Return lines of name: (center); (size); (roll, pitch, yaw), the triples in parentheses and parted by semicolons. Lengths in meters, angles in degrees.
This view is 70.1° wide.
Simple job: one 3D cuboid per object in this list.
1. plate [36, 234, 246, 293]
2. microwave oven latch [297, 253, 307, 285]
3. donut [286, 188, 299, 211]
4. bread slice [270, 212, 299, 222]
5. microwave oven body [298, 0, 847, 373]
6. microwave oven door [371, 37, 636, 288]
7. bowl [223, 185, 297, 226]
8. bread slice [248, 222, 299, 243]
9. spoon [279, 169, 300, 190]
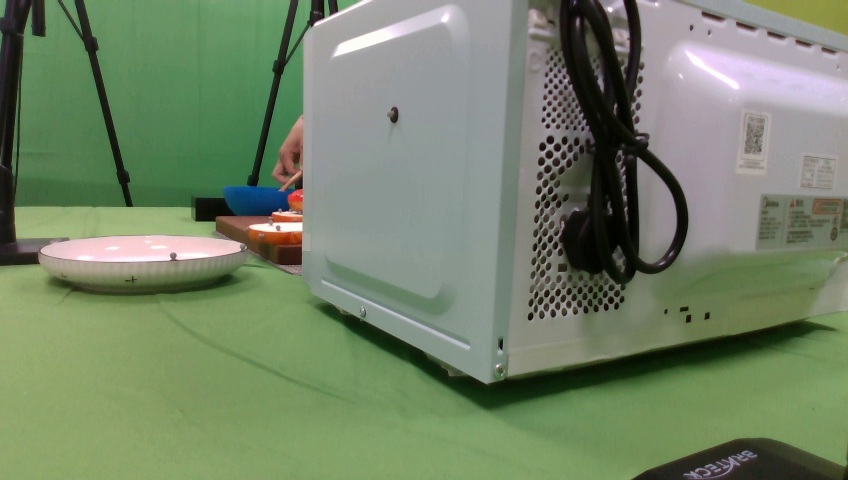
plate: (-0.305, 0.026, 0.668); (0.208, 0.039, 0.207); (3, 7, 0)
microwave oven latch: (-0.081, 0.027, 0.582); (0.079, 0.029, 0.030); (-1, 7, -32)
donut: (-0.190, -0.068, 1.055); (0.099, 0.048, 0.099); (3, 6, 0)
bread slice: (-0.198, -0.038, 1.051); (0.132, 0.019, 0.104); (0, 6, -31)
microwave oven body: (0.151, -0.055, 0.542); (0.444, 0.260, 0.324); (-2, 7, -33)
microwave oven door: (0.109, -0.080, 0.686); (0.358, 0.243, 0.039); (-2, 9, -33)
bowl: (-0.330, -0.068, 1.230); (0.151, 0.077, 0.151); (3, 8, 0)
bread slice: (-0.174, -0.012, 0.844); (0.135, 0.018, 0.106); (-6, 10, -44)
spoon: (-0.276, -0.115, 1.241); (0.041, 0.194, 0.022); (30, -20, 36)
